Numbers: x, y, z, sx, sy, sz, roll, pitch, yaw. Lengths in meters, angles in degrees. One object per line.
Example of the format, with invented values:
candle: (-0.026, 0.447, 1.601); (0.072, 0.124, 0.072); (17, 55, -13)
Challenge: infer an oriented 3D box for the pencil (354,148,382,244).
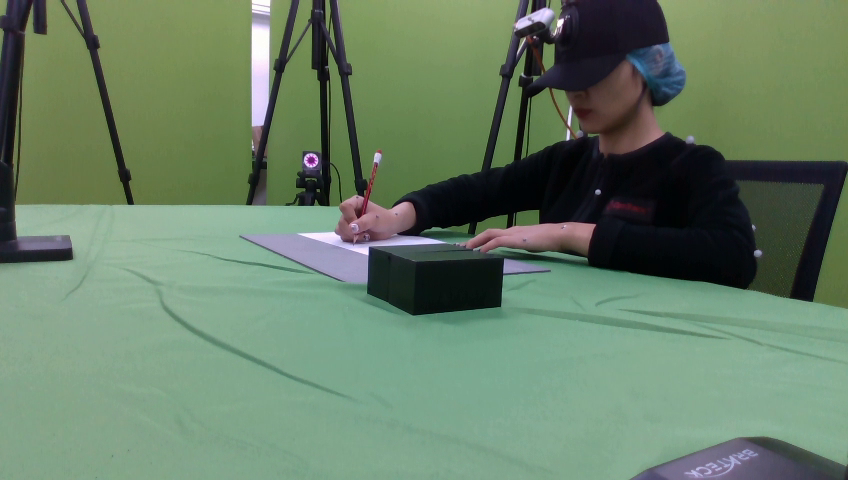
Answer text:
pencil: (-0.094, -0.076, 1.005); (0.012, 0.194, 0.012); (8, -30, 5)
